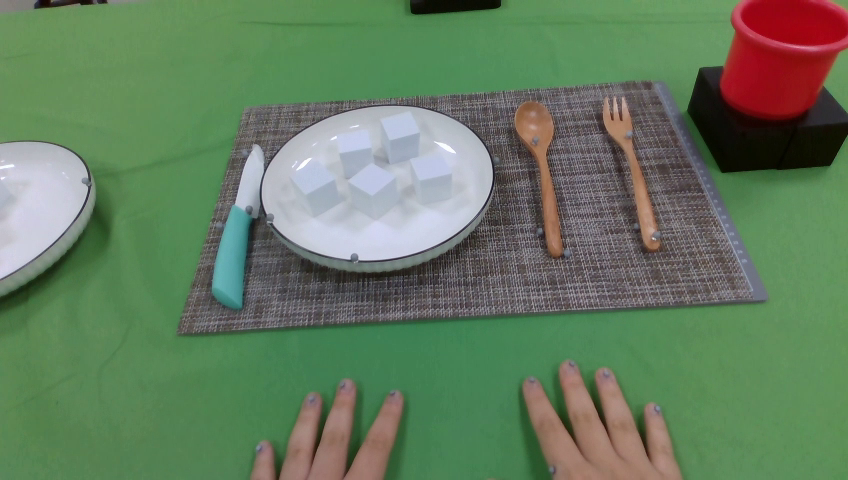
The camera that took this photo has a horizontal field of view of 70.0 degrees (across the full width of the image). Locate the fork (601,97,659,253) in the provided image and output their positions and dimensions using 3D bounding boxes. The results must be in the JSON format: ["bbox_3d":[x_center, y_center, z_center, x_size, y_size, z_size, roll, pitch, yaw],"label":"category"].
[{"bbox_3d":[0.191,-0.068,0.561,0.028,0.019,0.205,4,46,0],"label":"fork"}]

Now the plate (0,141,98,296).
[{"bbox_3d":[-0.400,-0.012,0.549,0.209,0.038,0.207,-2,47,2],"label":"plate"}]

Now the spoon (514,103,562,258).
[{"bbox_3d":[0.109,-0.061,0.559,0.042,0.022,0.192,10,47,-10],"label":"spoon"}]

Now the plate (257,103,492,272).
[{"bbox_3d":[-0.043,-0.048,0.549,0.207,0.039,0.205,-2,48,3],"label":"plate"}]

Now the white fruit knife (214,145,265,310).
[{"bbox_3d":[-0.165,-0.022,0.552,0.027,0.016,0.205,15,43,-20],"label":"white fruit knife"}]
